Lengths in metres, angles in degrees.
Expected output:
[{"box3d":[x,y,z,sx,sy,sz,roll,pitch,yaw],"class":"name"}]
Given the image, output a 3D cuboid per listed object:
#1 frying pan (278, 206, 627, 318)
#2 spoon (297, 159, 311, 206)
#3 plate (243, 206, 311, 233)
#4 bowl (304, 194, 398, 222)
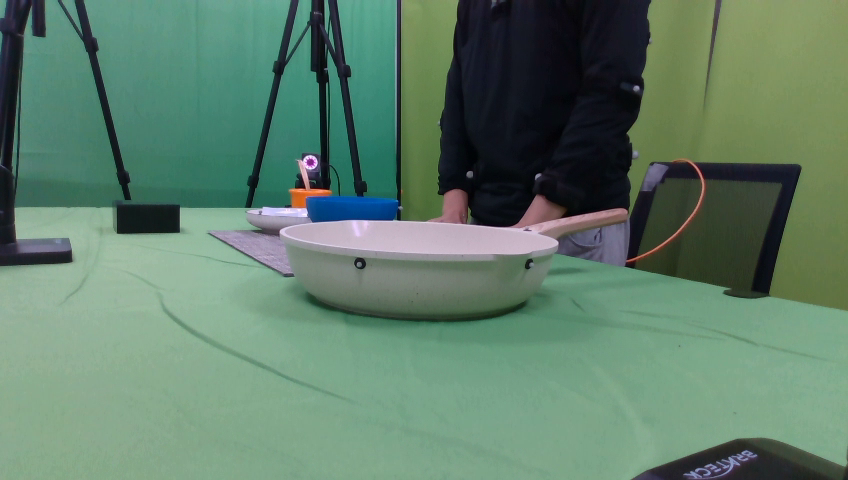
[{"box3d":[0.079,0.002,0.705,0.490,0.102,0.305,-12,15,-33],"class":"frying pan"},{"box3d":[-0.260,-0.113,1.340,0.042,0.193,0.021,0,-37,-25],"class":"spoon"},{"box3d":[-0.236,-0.037,1.150,0.208,0.039,0.207,2,7,0],"class":"plate"},{"box3d":[-0.118,-0.030,0.974,0.151,0.077,0.151,3,7,0],"class":"bowl"}]
